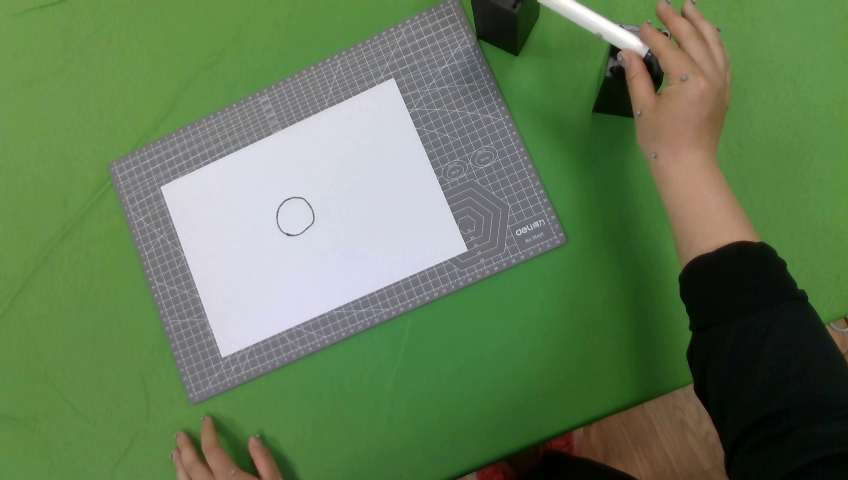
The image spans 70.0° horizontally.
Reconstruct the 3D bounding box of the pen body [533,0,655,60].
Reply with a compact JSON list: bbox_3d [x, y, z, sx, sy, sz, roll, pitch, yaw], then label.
[{"bbox_3d":[0.138,-0.200,0.539,0.143,0.017,0.017,33,91,10],"label":"pen body"}]
